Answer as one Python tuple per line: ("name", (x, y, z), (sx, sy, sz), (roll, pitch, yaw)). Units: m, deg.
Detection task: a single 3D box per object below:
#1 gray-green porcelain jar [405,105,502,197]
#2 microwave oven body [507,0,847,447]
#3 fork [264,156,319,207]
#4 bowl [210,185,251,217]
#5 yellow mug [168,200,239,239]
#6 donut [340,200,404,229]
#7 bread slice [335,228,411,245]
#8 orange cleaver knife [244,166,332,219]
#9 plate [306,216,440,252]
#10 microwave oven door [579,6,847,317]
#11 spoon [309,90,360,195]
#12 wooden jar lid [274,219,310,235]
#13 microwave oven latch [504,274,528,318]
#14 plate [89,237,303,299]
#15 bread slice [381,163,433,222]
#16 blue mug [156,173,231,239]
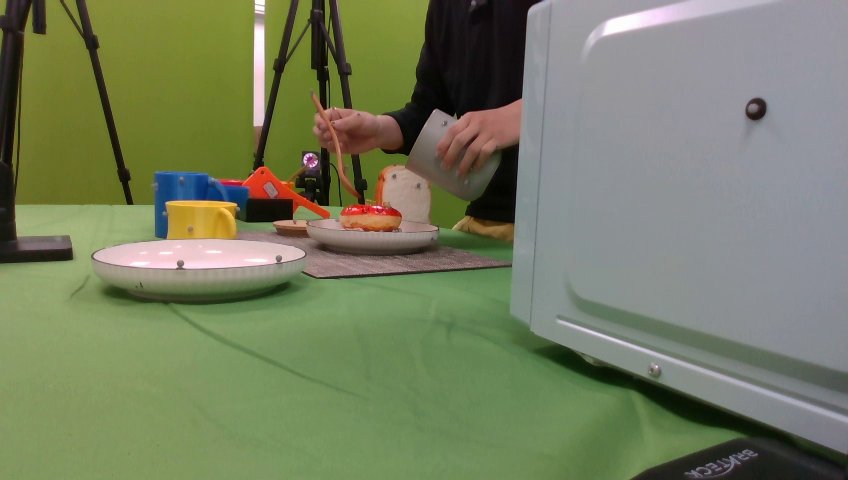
("gray-green porcelain jar", (0.050, -0.134, 0.938), (0.126, 0.105, 0.106), (28, 9, 0))
("microwave oven body", (0.331, -0.042, 0.425), (0.444, 0.260, 0.324), (-2, 8, -31))
("fork", (-0.331, -0.144, 1.506), (0.207, 0.018, 0.028), (-42, -20, 22))
("bowl", (-0.408, -0.064, 1.155), (0.151, 0.077, 0.151), (2, 8, 0))
("yellow mug", (-0.320, -0.023, 0.904), (0.130, 0.064, 0.100), (9, 11, 36))
("donut", (-0.081, -0.038, 0.944), (0.099, 0.048, 0.099), (1, 4, 0))
("bread slice", (-0.074, -0.006, 0.938), (0.105, 0.019, 0.131), (-1, 5, -19))
("orange cleaver knife", (-0.301, -0.089, 1.351), (0.212, 0.077, 0.012), (32, -11, -34))
("plate", (-0.079, -0.011, 0.950), (0.209, 0.038, 0.209), (2, 7, 0))
("microwave oven door", (0.294, -0.067, 0.570), (0.358, 0.243, 0.039), (-3, 9, -31))
("spoon", (-0.143, -0.156, 0.961), (0.021, 0.193, 0.042), (-22, -12, 4))
("wooden jar lid", (-0.213, -0.023, 1.080), (0.108, 0.020, 0.108), (3, 7, 0))
("microwave oven latch", (0.100, 0.041, 0.471), (0.079, 0.029, 0.030), (-1, 8, -28))
("plate", (-0.233, 0.029, 0.637), (0.208, 0.039, 0.207), (2, 7, 0))
("bread slice", (-0.035, -0.076, 1.124), (0.107, 0.134, 0.018), (-4, 1, -25))
("blue mug", (-0.381, -0.057, 1.004), (0.117, 0.106, 0.082), (0, 8, -12))
